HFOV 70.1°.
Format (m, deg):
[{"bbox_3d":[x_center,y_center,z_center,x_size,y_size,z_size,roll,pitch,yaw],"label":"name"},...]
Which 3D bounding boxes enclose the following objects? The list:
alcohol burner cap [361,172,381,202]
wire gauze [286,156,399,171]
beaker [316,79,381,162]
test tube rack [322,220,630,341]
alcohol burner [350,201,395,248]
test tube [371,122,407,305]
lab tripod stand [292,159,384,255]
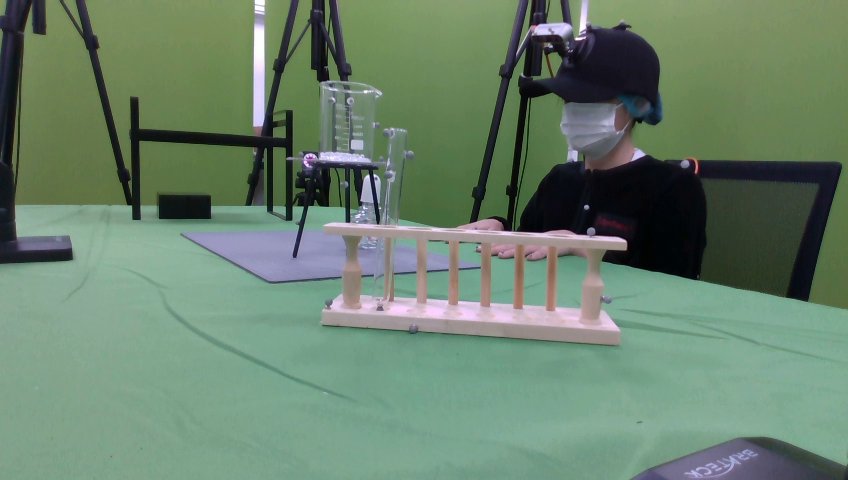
[{"bbox_3d":[-0.081,-0.083,0.949,0.034,0.048,0.034,7,7,-1],"label":"alcohol burner cap"},{"bbox_3d":[-0.101,-0.103,0.788,0.121,0.011,0.125,6,4,6],"label":"wire gauze"},{"bbox_3d":[-0.098,-0.151,0.778,0.084,0.100,0.074,4,7,6],"label":"beaker"},{"bbox_3d":[0.041,0.029,0.512,0.242,0.085,0.067,3,7,5],"label":"test tube rack"},{"bbox_3d":[-0.084,-0.048,0.953,0.078,0.119,0.078,1,6,0],"label":"alcohol burner"},{"bbox_3d":[-0.029,-0.020,0.493,0.017,0.150,0.017,6,9,-1],"label":"test tube"},{"bbox_3d":[-0.104,-0.039,0.797,0.148,0.131,0.148,2,5,0],"label":"lab tripod stand"}]
